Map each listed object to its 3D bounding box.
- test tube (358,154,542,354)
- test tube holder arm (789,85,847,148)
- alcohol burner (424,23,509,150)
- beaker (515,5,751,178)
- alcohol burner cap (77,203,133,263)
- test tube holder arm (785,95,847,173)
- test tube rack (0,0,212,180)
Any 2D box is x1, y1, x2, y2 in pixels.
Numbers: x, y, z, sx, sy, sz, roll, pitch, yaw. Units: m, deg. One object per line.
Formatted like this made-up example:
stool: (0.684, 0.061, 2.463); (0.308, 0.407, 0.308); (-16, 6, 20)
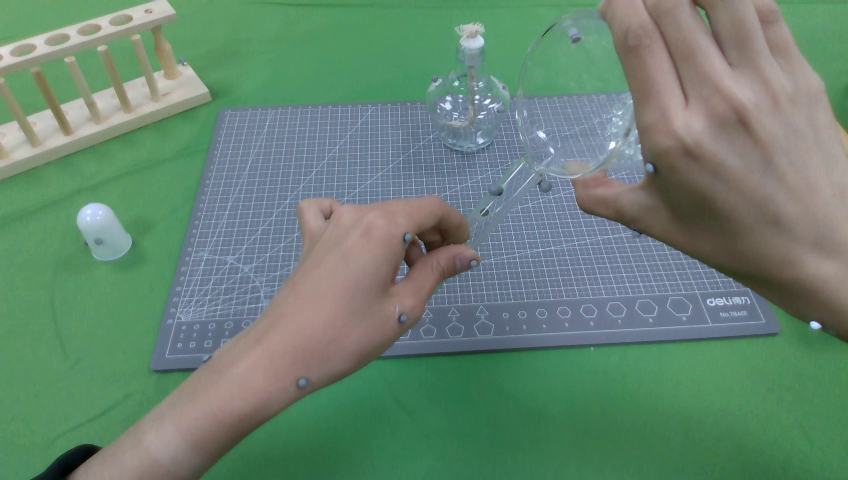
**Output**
test tube: (0.009, 0.013, 0.333); (0.017, 0.150, 0.017); (34, 24, -17)
test tube holder arm: (0.329, -0.099, 0.497); (0.015, 0.010, 0.087); (1, 47, -7)
alcohol burner: (0.039, -0.140, 0.543); (0.078, 0.120, 0.077); (1, 50, 0)
beaker: (0.106, -0.069, 0.305); (0.101, 0.084, 0.073); (-8, 52, -33)
alcohol burner cap: (-0.259, -0.008, 0.486); (0.034, 0.048, 0.033); (0, 49, 0)
test tube holder arm: (0.331, -0.062, 0.471); (0.015, 0.013, 0.176); (1, 46, -7)
test tube rack: (-0.338, -0.139, 0.570); (0.242, 0.086, 0.066); (-28, 54, -21)
